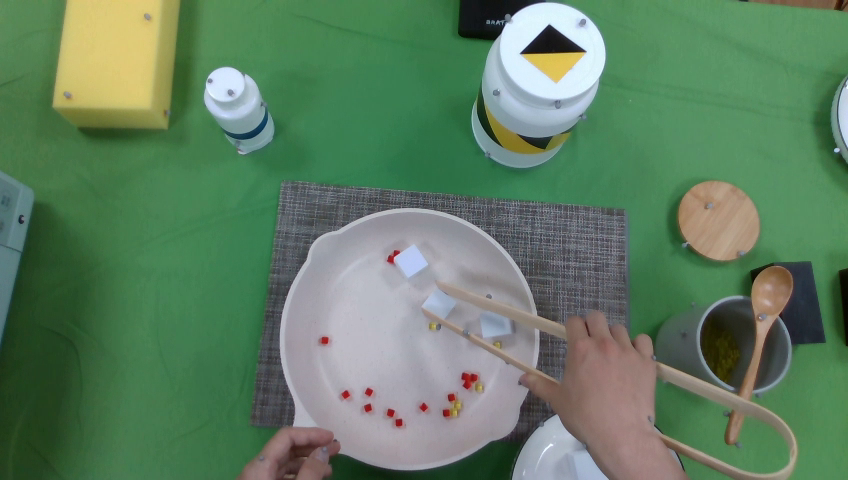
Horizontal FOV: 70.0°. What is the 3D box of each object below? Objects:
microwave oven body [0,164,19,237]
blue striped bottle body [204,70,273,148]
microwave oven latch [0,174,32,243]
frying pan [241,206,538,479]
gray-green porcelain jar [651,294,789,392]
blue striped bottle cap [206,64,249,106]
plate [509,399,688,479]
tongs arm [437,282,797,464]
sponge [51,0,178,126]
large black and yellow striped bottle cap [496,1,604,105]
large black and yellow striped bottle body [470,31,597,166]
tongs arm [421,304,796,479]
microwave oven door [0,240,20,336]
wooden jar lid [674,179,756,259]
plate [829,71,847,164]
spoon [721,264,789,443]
[{"bbox_3d":[-0.645,0.097,0.573,0.326,0.261,0.439,5,77,-3],"label":"microwave oven body"},{"bbox_3d":[-0.225,-0.163,0.734,0.063,0.121,0.063,1,76,-3],"label":"blue striped bottle body"},{"bbox_3d":[-0.489,-0.038,0.713,0.030,0.029,0.079,8,77,-2],"label":"microwave oven latch"},{"bbox_3d":[-0.090,0.174,0.672,0.306,0.103,0.487,45,70,8],"label":"frying pan"},{"bbox_3d":[0.333,0.123,0.703,0.106,0.127,0.105,1,77,-3],"label":"gray-green porcelain jar"},{"bbox_3d":[-0.223,-0.176,0.685,0.044,0.021,0.044,1,79,-3],"label":"blue striped bottle cap"},{"bbox_3d":[0.198,0.288,0.700,0.208,0.039,0.206,1,79,-3],"label":"plate"},{"bbox_3d":[0.160,0.111,0.602,0.384,0.028,0.028,21,59,37],"label":"tongs arm"},{"bbox_3d":[-0.390,-0.255,0.775,0.118,0.061,0.206,0,78,-4],"label":"sponge"},{"bbox_3d":[0.135,-0.201,0.648,0.115,0.019,0.114,1,78,-3],"label":"large black and yellow striped bottle cap"},{"bbox_3d":[0.129,-0.181,0.730,0.131,0.184,0.130,1,76,-3],"label":"large black and yellow striped bottle body"},{"bbox_3d":[0.147,0.128,0.594,0.381,0.027,0.050,26,66,39],"label":"tongs arm"},{"bbox_3d":[-0.503,0.151,0.565,0.039,0.244,0.354,5,76,-2],"label":"microwave oven door"},{"bbox_3d":[0.379,-0.027,0.794,0.108,0.021,0.108,1,79,-3],"label":"wooden jar lid"},{"bbox_3d":[0.653,-0.156,0.831,0.209,0.038,0.208,1,77,-3],"label":"plate"},{"bbox_3d":[0.341,0.117,0.633,0.041,0.021,0.193,21,80,-1],"label":"spoon"}]
